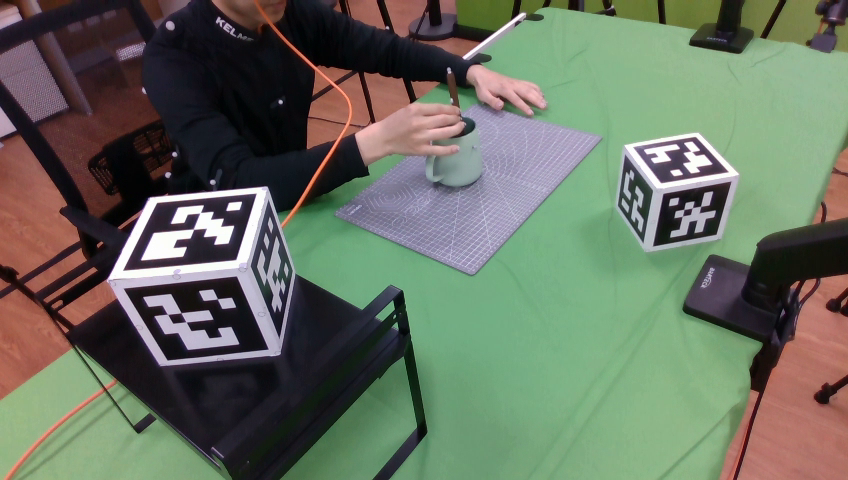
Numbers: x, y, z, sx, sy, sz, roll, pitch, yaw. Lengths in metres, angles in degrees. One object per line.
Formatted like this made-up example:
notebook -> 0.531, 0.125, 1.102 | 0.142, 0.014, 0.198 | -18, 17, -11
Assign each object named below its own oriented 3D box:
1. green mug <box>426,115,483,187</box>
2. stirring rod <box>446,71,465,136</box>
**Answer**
green mug -> 0.047, -0.148, 1.068 | 0.092, 0.105, 0.125 | 24, 50, 31
stirring rod -> 0.059, -0.208, 1.036 | 0.014, 0.177, 0.005 | -33, 43, -19
